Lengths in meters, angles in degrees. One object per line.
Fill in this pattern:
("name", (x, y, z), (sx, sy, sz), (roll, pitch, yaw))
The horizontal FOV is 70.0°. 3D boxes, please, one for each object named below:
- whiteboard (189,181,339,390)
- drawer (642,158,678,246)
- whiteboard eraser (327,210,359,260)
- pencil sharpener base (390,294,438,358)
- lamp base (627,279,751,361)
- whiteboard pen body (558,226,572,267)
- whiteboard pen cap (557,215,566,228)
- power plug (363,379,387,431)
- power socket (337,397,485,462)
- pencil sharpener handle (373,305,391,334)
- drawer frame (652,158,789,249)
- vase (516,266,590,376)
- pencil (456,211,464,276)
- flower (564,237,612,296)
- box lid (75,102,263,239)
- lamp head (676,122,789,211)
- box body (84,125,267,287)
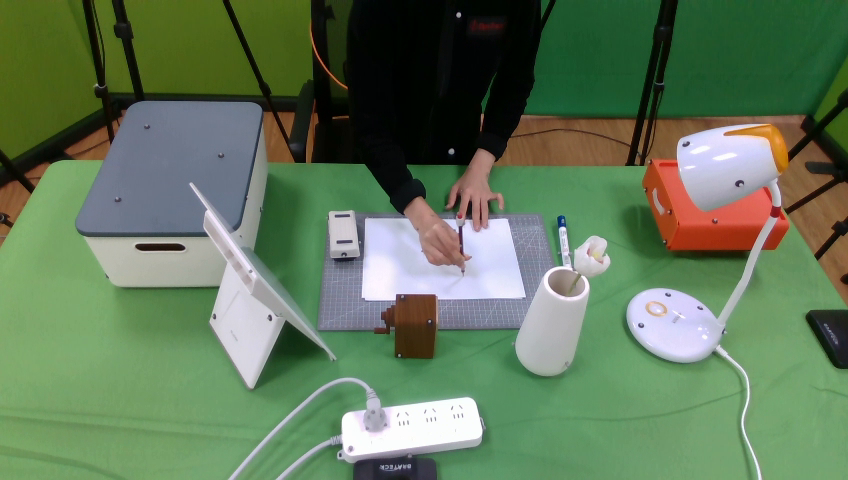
("whiteboard", (-0.292, 0.096, 0.929), (0.144, 0.307, 0.216), (-37, 57, -10))
("drawer", (0.566, -0.076, 1.211), (0.212, 0.073, 0.193), (2, 45, -2))
("whiteboard eraser", (-0.158, -0.009, 1.177), (0.055, 0.042, 0.112), (-6, 47, -7))
("pencil sharpener base", (-0.018, 0.143, 1.000), (0.077, 0.107, 0.061), (1, 46, -2))
("lamp base", (0.459, 0.100, 1.027), (0.178, 0.181, 0.160), (27, 51, 17))
("whiteboard pen body", (0.280, 0.010, 1.208), (0.017, 0.017, 0.140), (3, 50, -1))
("whiteboard pen cap", (0.284, -0.035, 1.246), (0.018, 0.018, 0.033), (4, 52, -1))
("power plug", (-0.072, 0.252, 0.910), (0.035, 0.053, 0.072), (3, 45, -1))
("power socket", (-0.018, 0.285, 0.915), (0.227, 0.033, 0.071), (-5, 46, -8))
("pencil sharpener handle", (-0.068, 0.133, 0.989), (0.030, 0.068, 0.036), (1, 47, -2))
("drawer frame", (0.571, -0.075, 1.214), (0.214, 0.083, 0.200), (0, 45, -1))
("vase", (0.208, 0.132, 0.964), (0.098, 0.201, 0.097), (3, 46, -3))
("pencil", (0.065, 0.012, 1.067), (0.012, 0.195, 0.012), (-3, 55, 4))
("flower", (0.206, 0.088, 0.893), (0.038, 0.363, 0.044), (-17, 67, -9))
("box lid", (-0.442, -0.138, 1.094), (0.263, 0.015, 0.369), (-1, 47, -5))
("lamp head", (0.423, -0.104, 0.819), (0.122, 0.113, 0.112), (-13, 33, 40))
("box body", (-0.446, -0.088, 1.150), (0.254, 0.161, 0.361), (-1, 46, -5))
